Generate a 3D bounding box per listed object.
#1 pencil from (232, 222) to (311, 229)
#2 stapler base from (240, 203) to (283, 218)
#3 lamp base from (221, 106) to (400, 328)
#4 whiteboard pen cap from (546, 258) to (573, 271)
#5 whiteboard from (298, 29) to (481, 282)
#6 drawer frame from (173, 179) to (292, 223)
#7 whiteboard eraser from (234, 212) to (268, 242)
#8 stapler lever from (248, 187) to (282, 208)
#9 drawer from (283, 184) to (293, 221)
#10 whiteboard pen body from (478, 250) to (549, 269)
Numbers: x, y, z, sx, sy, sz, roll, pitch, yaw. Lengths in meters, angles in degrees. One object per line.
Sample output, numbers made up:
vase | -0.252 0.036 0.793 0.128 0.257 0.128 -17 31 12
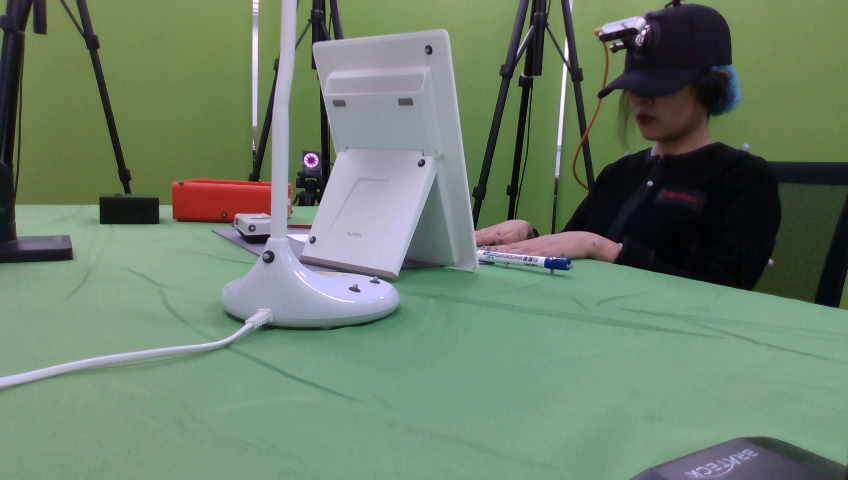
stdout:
pencil | -0.261 -0.025 1.140 0.195 0.012 0.012 2 7 -26
stapler base | -0.349 -0.065 1.309 0.041 0.024 0.131 19 8 12
lamp base | -0.101 -0.023 0.531 0.160 0.180 0.179 4 10 10
whiteboard pen cap | 0.176 0.032 0.790 0.033 0.018 0.018 3 6 38
whiteboard | -0.075 -0.082 0.742 0.216 0.305 0.144 9 29 37
drawer frame | -0.400 -0.086 1.300 0.214 0.082 0.201 1 8 -8
whiteboard eraser | -0.270 -0.020 0.975 0.056 0.042 0.112 0 8 -27
stapler lever | -0.341 -0.092 1.308 0.027 0.040 0.118 19 5 12
drawer | -0.396 -0.084 1.301 0.212 0.073 0.194 1 8 -7
whiteboard pen body | 0.130 0.028 0.827 0.140 0.017 0.017 7 8 38
